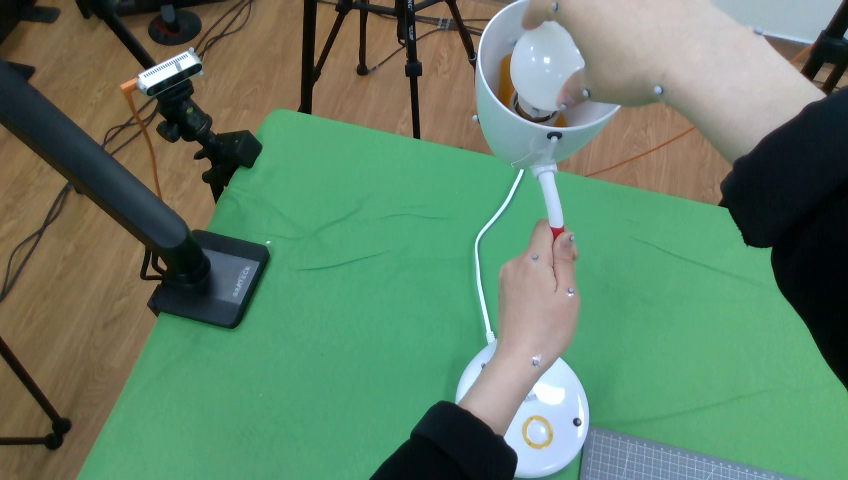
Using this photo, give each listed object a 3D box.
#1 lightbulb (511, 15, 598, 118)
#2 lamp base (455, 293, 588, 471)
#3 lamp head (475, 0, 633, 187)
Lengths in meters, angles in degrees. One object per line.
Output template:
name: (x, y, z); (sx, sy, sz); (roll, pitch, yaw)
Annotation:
lightbulb: (0.089, -0.119, 0.444); (0.059, 0.108, 0.059); (1, 77, -3)
lamp base: (0.113, 0.145, 0.663); (0.161, 0.181, 0.177); (-24, 62, -15)
lamp head: (0.091, -0.106, 0.474); (0.112, 0.123, 0.111); (1, 66, -2)
